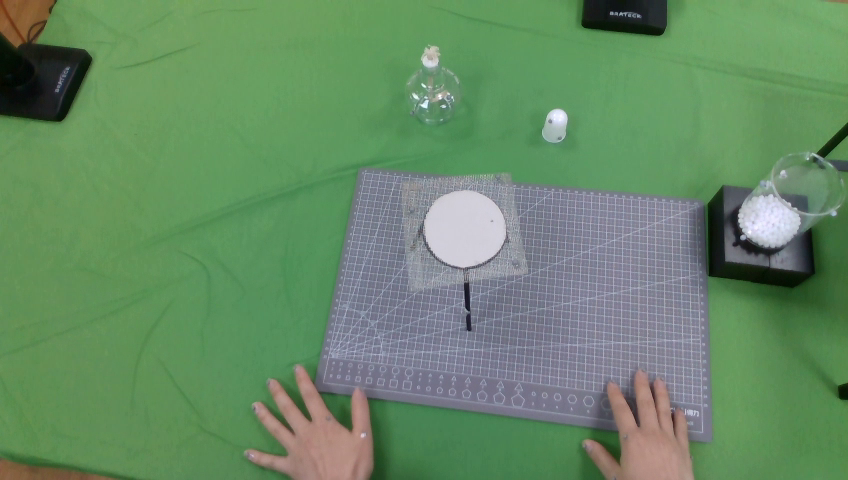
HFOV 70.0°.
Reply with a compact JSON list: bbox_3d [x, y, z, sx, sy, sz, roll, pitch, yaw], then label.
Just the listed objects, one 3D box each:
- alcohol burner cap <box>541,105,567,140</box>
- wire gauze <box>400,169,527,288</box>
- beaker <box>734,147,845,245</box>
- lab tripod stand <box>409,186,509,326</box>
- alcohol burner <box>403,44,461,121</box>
[{"bbox_3d":[0.176,-0.159,0.807,0.034,0.048,0.033,-2,68,5],"label":"alcohol burner cap"},{"bbox_3d":[0.038,-0.016,0.629,0.121,0.011,0.124,-5,69,-1],"label":"wire gauze"},{"bbox_3d":[0.396,-0.045,0.666,0.074,0.101,0.083,16,69,9],"label":"beaker"},{"bbox_3d":[0.045,0.012,0.690,0.148,0.132,0.147,0,69,1],"label":"lab tripod stand"},{"bbox_3d":[0.010,-0.212,0.796,0.078,0.120,0.077,-1,66,4],"label":"alcohol burner"}]
